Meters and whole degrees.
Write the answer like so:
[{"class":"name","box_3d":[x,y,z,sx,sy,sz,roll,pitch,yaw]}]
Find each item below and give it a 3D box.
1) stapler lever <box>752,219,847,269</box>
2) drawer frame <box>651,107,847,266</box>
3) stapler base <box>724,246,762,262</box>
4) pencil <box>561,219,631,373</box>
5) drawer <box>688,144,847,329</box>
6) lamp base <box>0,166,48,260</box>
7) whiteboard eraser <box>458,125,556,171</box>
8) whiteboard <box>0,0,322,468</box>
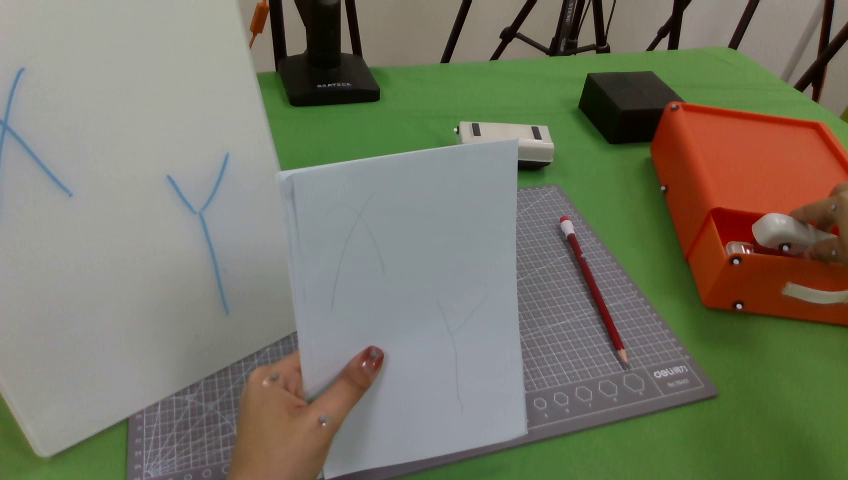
[{"class":"stapler lever","box_3d":[0.358,0.008,0.552,0.118,0.040,0.026,9,52,-4]},{"class":"drawer frame","box_3d":[0.376,-0.052,0.671,0.202,0.083,0.211,7,40,0]},{"class":"stapler base","box_3d":[0.353,0.024,0.572,0.131,0.024,0.041,8,52,-4]},{"class":"pencil","box_3d":[0.162,0.046,0.577,0.012,0.012,0.192,-1,43,-9]},{"class":"drawer","box_3d":[0.370,-0.011,0.625,0.194,0.074,0.210,7,41,1]},{"class":"lamp base","box_3d":[-0.437,-0.080,0.502,0.178,0.182,0.160,19,42,16]},{"class":"whiteboard eraser","box_3d":[0.098,-0.109,0.725,0.113,0.042,0.055,3,43,-5]},{"class":"whiteboard","box_3d":[-0.230,-0.042,0.439,0.217,0.308,0.142,-25,31,-31]}]
